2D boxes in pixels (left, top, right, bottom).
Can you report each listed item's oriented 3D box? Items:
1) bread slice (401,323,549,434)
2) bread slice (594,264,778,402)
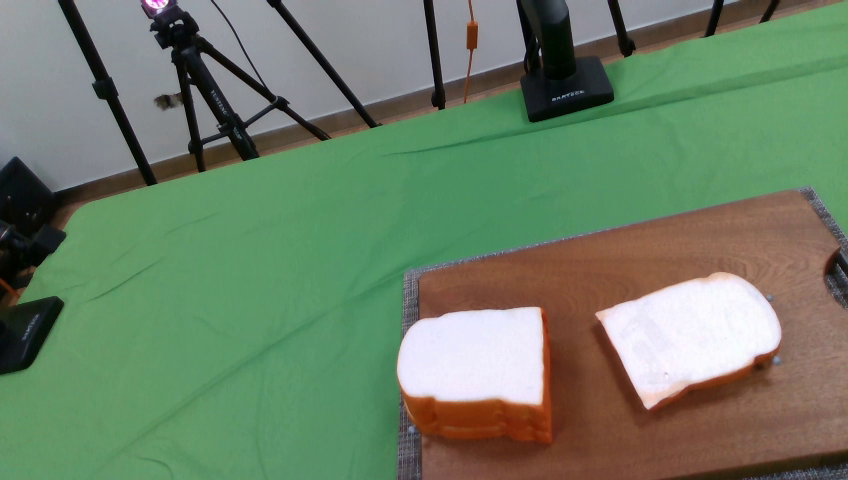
[{"bbox_3d":[0.046,0.121,0.546,0.134,0.018,0.106,-3,44,16],"label":"bread slice"},{"bbox_3d":[0.225,0.074,0.515,0.131,0.019,0.103,-23,40,8],"label":"bread slice"}]
